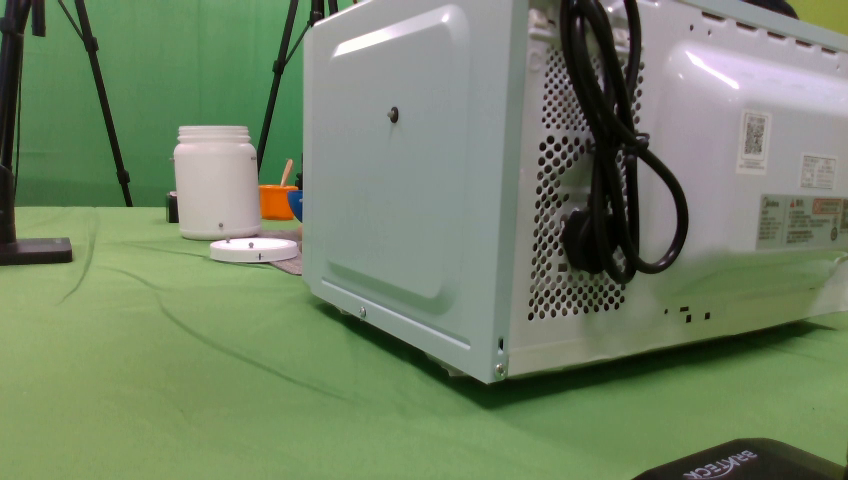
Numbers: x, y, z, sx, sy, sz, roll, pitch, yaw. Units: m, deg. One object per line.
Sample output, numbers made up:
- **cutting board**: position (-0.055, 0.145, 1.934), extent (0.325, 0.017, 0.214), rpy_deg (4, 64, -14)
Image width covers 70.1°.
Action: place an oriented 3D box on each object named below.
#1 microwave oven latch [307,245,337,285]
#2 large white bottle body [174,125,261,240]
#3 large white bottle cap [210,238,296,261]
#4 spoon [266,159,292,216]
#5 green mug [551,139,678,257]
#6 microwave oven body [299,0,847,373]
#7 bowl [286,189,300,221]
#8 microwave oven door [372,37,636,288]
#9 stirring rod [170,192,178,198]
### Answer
- **microwave oven latch**: position (-0.101, 0.024, 0.607), extent (0.030, 0.029, 0.079), rpy_deg (3, 7, -6)
- **large white bottle body**: position (-0.349, -0.100, 1.025), extent (0.131, 0.184, 0.130), rpy_deg (-1, 9, 0)
- **large white bottle cap**: position (-0.236, 0.012, 0.839), extent (0.115, 0.018, 0.115), rpy_deg (2, 7, 0)
- **spoon**: position (-0.333, -0.127, 1.423), extent (0.041, 0.193, 0.022), rpy_deg (0, -37, 7)
- **green mug**: position (0.178, -0.037, 0.582), extent (0.124, 0.105, 0.093), rpy_deg (0, 0, 43)
- **microwave oven body**: position (0.152, -0.055, 0.542), extent (0.444, 0.260, 0.324), rpy_deg (-2, 7, -33)
- **bowl**: position (-0.179, -0.051, 1.115), extent (0.151, 0.077, 0.151), rpy_deg (3, 8, 0)
- **microwave oven door**: position (0.110, -0.080, 0.686), extent (0.358, 0.243, 0.039), rpy_deg (-2, 9, -33)
- **stirring rod**: position (-0.465, -0.098, 1.282), extent (0.014, 0.006, 0.177), rpy_deg (42, 21, 17)
